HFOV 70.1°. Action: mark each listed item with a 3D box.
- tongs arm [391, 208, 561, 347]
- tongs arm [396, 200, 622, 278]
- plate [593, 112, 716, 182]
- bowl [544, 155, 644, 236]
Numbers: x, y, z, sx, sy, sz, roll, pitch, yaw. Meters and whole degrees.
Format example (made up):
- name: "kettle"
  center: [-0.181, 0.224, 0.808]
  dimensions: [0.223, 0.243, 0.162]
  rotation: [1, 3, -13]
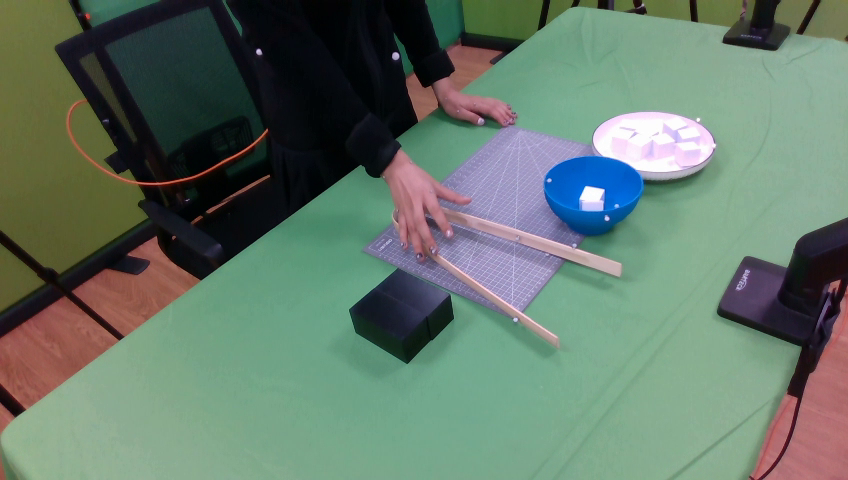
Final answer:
- name: "tongs arm"
  center: [0.060, 0.045, 0.906]
  dimensions: [0.028, 0.028, 0.384]
  rotation: [-37, 47, -19]
- name: "tongs arm"
  center: [0.117, -0.002, 0.947]
  dimensions: [0.381, 0.026, 0.051]
  rotation: [22, 53, 32]
- name: "plate"
  center: [0.408, -0.163, 1.084]
  dimensions: [0.207, 0.039, 0.206]
  rotation: [-4, 40, 4]
- name: "bowl"
  center: [0.266, -0.061, 0.957]
  dimensions: [0.151, 0.077, 0.150]
  rotation: [-5, 40, 5]
